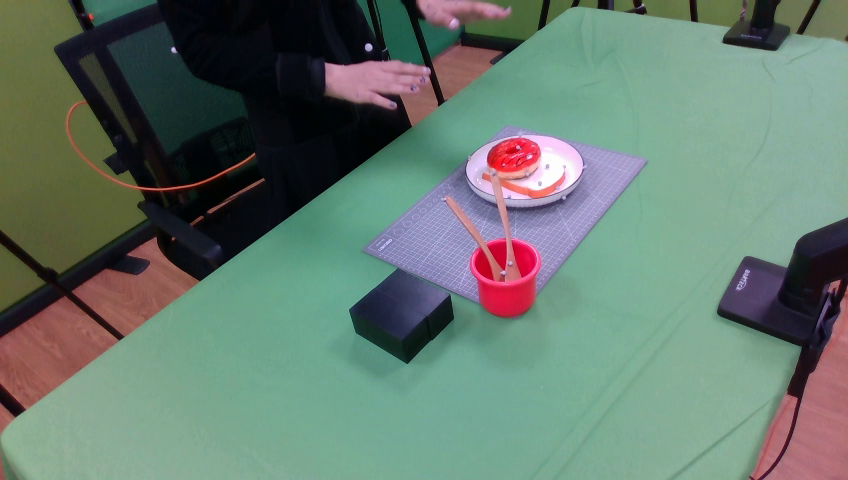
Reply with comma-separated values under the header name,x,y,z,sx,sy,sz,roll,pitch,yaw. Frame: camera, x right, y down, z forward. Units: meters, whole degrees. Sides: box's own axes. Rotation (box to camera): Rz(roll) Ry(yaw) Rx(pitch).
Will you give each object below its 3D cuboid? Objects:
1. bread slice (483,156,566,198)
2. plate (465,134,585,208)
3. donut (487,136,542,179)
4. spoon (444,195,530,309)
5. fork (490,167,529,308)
name,x,y,z,sx,sy,sz,roll,pitch,yaw
bread slice,0.187,-0.121,1.077,0.130,0.019,0.105,28,53,36
plate,0.178,-0.120,1.075,0.209,0.038,0.208,-5,40,5
donut,0.159,-0.147,1.068,0.099,0.048,0.098,-9,39,8
spoon,0.087,0.015,0.849,0.042,0.021,0.193,-31,89,-31
fork,0.118,-0.006,0.857,0.028,0.018,0.206,-7,81,-13
